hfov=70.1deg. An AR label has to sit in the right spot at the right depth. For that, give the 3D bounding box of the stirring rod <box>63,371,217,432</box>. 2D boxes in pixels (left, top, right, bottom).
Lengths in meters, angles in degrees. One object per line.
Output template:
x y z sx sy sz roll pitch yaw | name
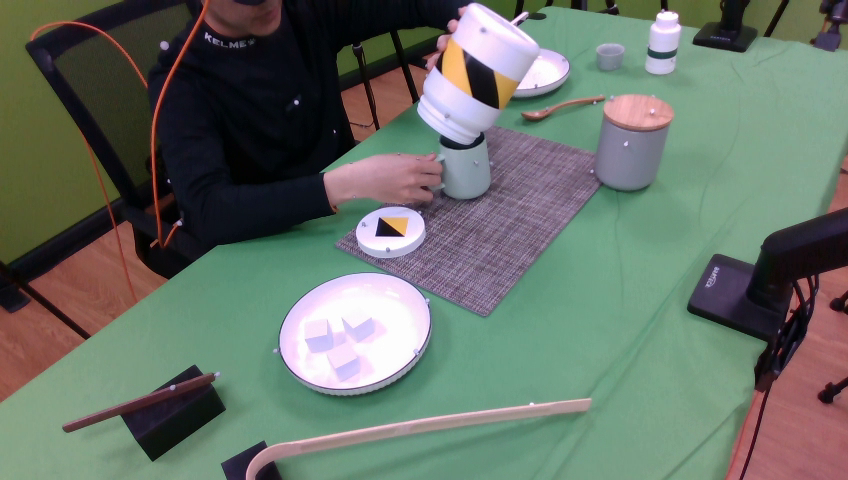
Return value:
-0.337 0.192 0.723 0.177 0.014 0.005 -18 42 -12 | stirring rod

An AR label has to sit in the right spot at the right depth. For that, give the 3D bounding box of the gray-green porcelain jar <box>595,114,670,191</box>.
0.346 -0.155 1.017 0.106 0.127 0.105 -2 44 2 | gray-green porcelain jar

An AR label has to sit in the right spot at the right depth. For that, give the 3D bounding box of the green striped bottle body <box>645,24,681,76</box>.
0.520 -0.424 1.312 0.063 0.120 0.063 -4 41 4 | green striped bottle body

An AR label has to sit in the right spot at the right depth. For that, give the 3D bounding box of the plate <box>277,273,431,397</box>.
-0.091 0.129 0.821 0.207 0.039 0.206 -4 40 4 | plate

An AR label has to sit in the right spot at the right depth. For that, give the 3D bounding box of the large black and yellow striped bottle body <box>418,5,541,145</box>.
0.082 -0.256 0.955 0.131 0.183 0.130 28 26 -15 | large black and yellow striped bottle body

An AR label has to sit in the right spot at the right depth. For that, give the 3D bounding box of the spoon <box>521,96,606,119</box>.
0.291 -0.277 1.249 0.194 0.022 0.041 -17 27 -11 | spoon

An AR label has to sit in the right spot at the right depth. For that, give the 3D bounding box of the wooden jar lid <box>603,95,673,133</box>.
0.343 -0.200 0.973 0.108 0.021 0.108 -1 39 2 | wooden jar lid

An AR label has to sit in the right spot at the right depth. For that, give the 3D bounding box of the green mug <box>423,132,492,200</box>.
0.055 -0.125 1.039 0.126 0.105 0.091 -26 44 -20 | green mug

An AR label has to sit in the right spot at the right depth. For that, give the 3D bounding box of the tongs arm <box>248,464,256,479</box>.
0.012 0.262 0.615 0.385 0.026 0.050 2 42 -2 | tongs arm

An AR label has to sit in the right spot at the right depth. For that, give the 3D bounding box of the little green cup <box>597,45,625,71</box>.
0.423 -0.413 1.375 0.061 0.039 0.061 -3 41 3 | little green cup

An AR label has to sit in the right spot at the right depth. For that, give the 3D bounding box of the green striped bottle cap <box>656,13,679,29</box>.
0.515 -0.463 1.278 0.044 0.020 0.044 -6 42 6 | green striped bottle cap

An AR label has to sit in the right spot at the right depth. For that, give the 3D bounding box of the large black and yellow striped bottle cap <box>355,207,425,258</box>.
-0.056 -0.014 0.993 0.115 0.019 0.114 -3 40 3 | large black and yellow striped bottle cap

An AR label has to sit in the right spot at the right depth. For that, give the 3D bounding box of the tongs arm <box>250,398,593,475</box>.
0.008 0.212 0.675 0.389 0.028 0.028 -5 46 -11 | tongs arm

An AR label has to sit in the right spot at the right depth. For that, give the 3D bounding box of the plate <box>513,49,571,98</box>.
0.223 -0.371 1.357 0.209 0.038 0.208 -4 41 4 | plate
